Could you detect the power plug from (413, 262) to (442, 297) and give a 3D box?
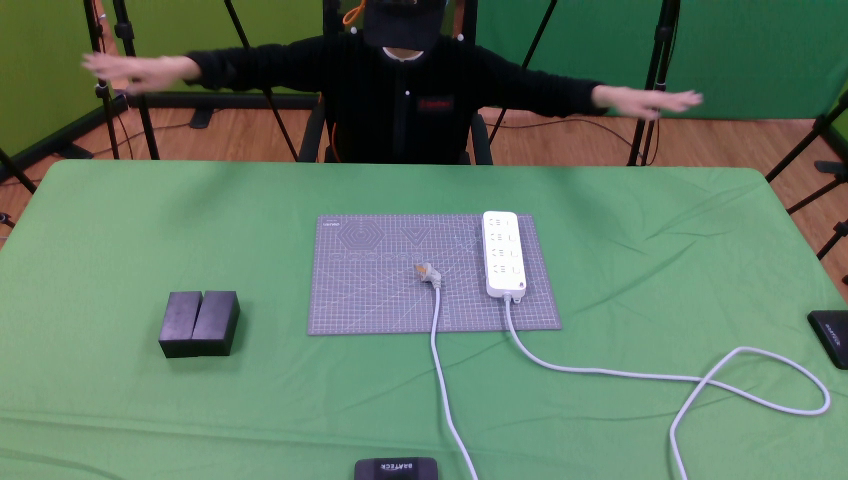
[{"bbox_3d":[0.007,0.068,1.112,0.053,0.035,0.072,12,25,-13],"label":"power plug"}]

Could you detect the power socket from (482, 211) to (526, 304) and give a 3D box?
[{"bbox_3d":[0.153,0.025,1.173,0.072,0.033,0.225,2,46,-1],"label":"power socket"}]
